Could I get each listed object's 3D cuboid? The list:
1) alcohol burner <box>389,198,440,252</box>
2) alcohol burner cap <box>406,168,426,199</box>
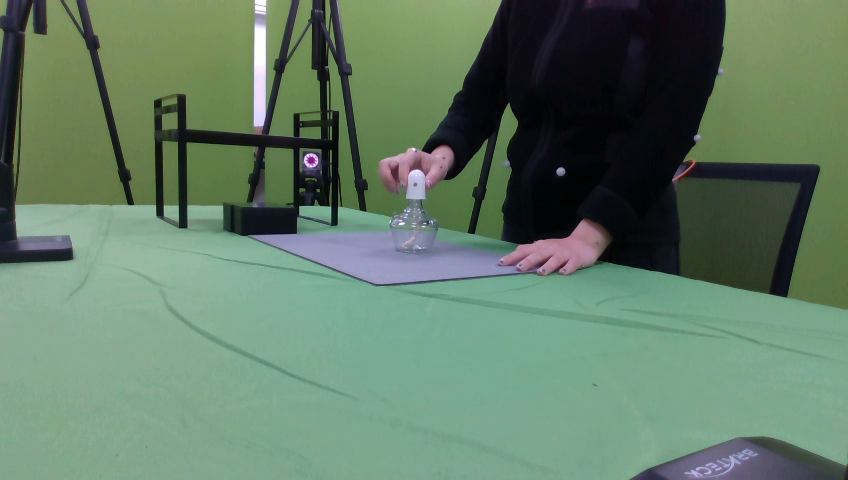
[{"bbox_3d":[-0.013,-0.041,0.930,0.078,0.119,0.078,4,8,0],"label":"alcohol burner"},{"bbox_3d":[-0.012,-0.086,0.925,0.034,0.048,0.034,0,4,0],"label":"alcohol burner cap"}]
